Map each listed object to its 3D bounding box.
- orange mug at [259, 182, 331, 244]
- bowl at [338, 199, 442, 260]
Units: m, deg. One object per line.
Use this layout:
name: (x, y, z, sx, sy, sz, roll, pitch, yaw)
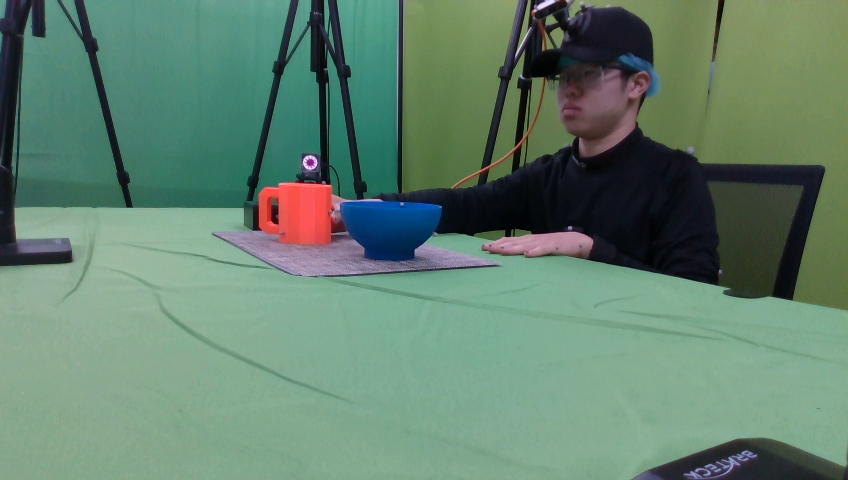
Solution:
orange mug: (-0.215, -0.048, 1.003, 0.126, 0.100, 0.083, 8, 9, 13)
bowl: (-0.050, -0.015, 0.878, 0.151, 0.077, 0.151, 2, 8, 0)
